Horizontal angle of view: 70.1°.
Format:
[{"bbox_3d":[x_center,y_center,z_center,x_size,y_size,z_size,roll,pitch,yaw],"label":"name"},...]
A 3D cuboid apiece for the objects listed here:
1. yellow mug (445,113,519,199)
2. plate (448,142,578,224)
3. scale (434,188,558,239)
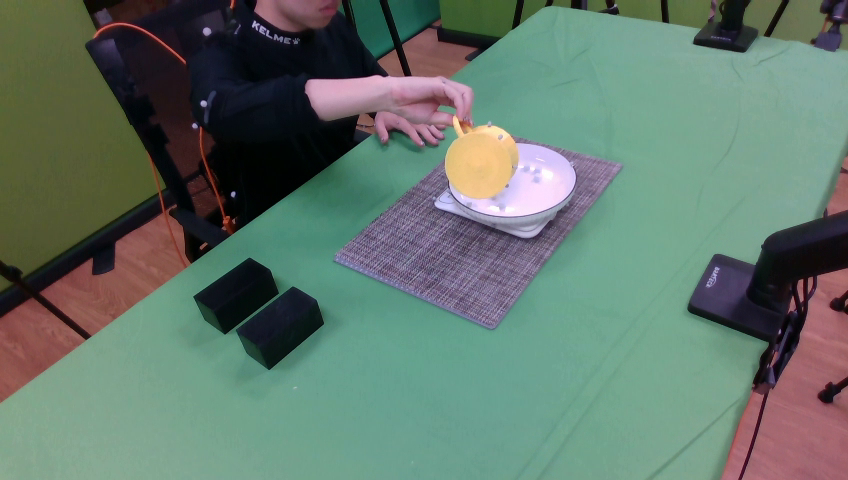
[{"bbox_3d":[0.080,-0.131,0.897,0.099,0.131,0.064,-28,9,23],"label":"yellow mug"},{"bbox_3d":[0.145,-0.089,0.989,0.209,0.038,0.208,-4,41,4],"label":"plate"},{"bbox_3d":[0.132,-0.075,1.025,0.199,0.032,0.149,22,48,30],"label":"scale"}]
